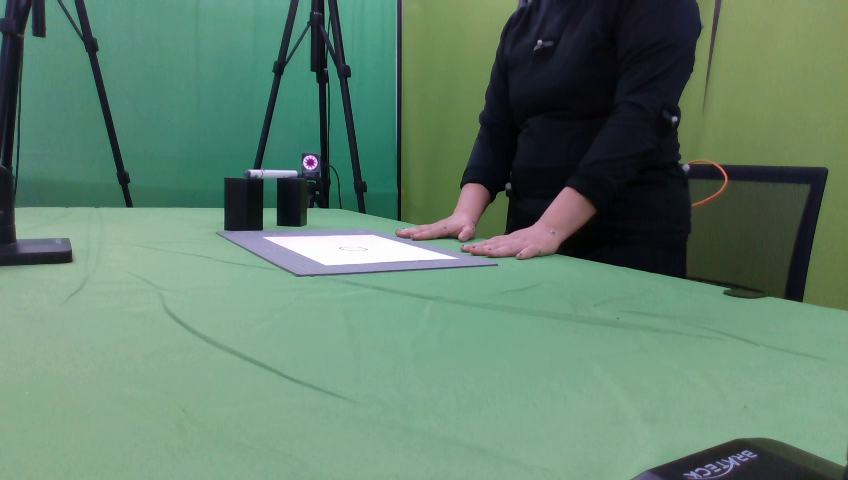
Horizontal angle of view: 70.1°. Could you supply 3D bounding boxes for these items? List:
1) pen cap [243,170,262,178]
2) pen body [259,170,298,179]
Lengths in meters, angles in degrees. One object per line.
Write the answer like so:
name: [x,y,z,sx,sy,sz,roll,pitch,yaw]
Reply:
pen cap: [-0.328,-0.126,1.154,0.017,0.017,0.038,6,10,23]
pen body: [-0.301,-0.131,1.211,0.017,0.017,0.144,6,8,24]
